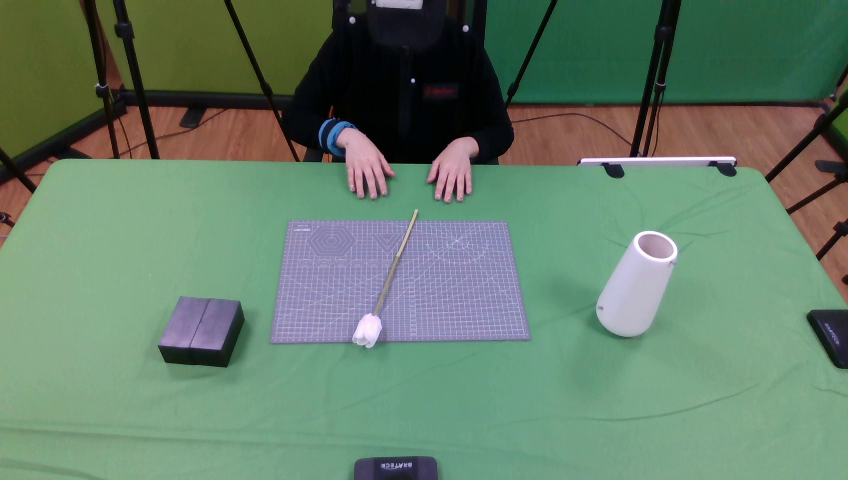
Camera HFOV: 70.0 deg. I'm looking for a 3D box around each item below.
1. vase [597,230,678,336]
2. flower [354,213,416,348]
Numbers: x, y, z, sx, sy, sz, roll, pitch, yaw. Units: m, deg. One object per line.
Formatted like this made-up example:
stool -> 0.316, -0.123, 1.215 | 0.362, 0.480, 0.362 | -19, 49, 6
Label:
vase -> 0.360, 0.077, 1.026 | 0.098, 0.201, 0.097 | 1, 47, -1
flower -> -0.060, 0.058, 1.139 | 0.044, 0.038, 0.360 | -20, 31, 30
